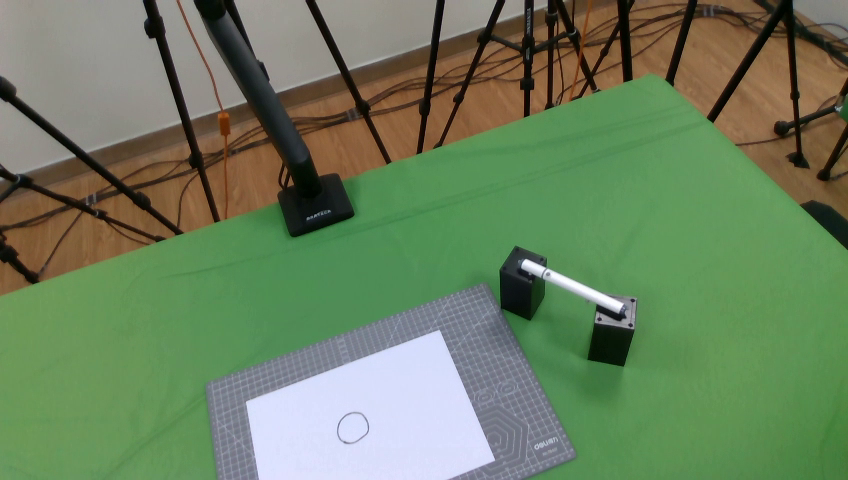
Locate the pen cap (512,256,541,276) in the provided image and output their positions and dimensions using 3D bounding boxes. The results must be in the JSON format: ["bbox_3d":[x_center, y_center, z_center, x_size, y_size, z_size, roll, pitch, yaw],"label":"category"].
[{"bbox_3d":[0.141,0.035,0.837,0.038,0.017,0.017,23,58,26],"label":"pen cap"}]

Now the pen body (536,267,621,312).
[{"bbox_3d":[0.193,0.060,0.811,0.143,0.017,0.017,25,59,25],"label":"pen body"}]
